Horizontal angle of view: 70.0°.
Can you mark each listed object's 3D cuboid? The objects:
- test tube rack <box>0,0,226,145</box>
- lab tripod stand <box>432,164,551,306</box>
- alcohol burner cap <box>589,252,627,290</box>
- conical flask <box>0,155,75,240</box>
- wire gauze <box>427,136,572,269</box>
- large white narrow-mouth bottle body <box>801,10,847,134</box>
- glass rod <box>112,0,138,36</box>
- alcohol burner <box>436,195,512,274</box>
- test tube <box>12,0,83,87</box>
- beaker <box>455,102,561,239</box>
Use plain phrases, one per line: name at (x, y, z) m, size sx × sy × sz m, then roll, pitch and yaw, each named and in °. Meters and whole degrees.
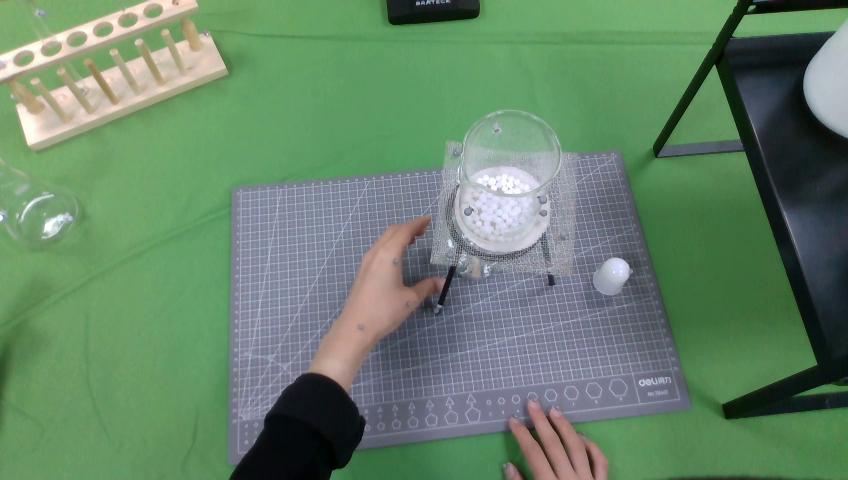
test tube rack at (-0.368, -0.205, 0.704) m, size 0.242 × 0.086 × 0.066 m, roll -26°, pitch 69°, yaw -11°
lab tripod stand at (0.064, -0.003, 0.592) m, size 0.148 × 0.132 × 0.147 m, roll 1°, pitch 65°, yaw -1°
alcohol burner cap at (0.193, 0.029, 0.629) m, size 0.034 × 0.048 × 0.033 m, roll 0°, pitch 66°, yaw 0°
conical flask at (-0.425, -0.056, 0.621) m, size 0.075 × 0.123 × 0.075 m, roll 0°, pitch 66°, yaw 0°
wire gauze at (0.070, -0.034, 0.534) m, size 0.121 × 0.011 × 0.124 m, roll 7°, pitch 65°, yaw 0°
large white narrow-mouth bottle body at (0.371, -0.164, 0.437) m, size 0.102 × 0.196 × 0.101 m, roll 0°, pitch 67°, yaw 1°
glass rod at (-0.342, -0.270, 0.660) m, size 0.008 × 0.201 × 0.008 m, roll -1°, pitch 59°, yaw 2°
alcohol burner at (0.052, -0.011, 0.606) m, size 0.078 × 0.120 × 0.077 m, roll 1°, pitch 65°, yaw -1°
test tube at (-0.412, -0.223, 0.658) m, size 0.017 × 0.151 × 0.017 m, roll 0°, pitch 60°, yaw 0°
beaker at (0.060, -0.048, 0.487) m, size 0.084 × 0.101 × 0.073 m, roll -28°, pitch 70°, yaw -11°
